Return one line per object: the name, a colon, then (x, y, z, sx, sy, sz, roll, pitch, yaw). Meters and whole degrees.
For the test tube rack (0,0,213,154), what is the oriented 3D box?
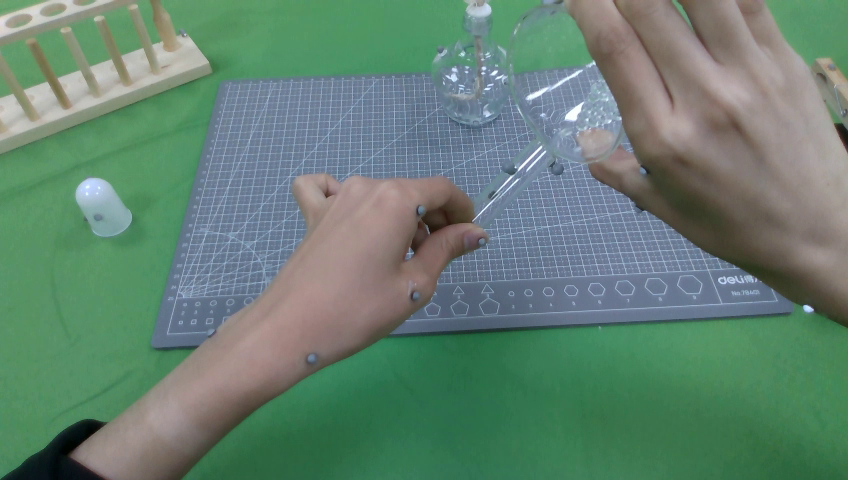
test tube rack: (-0.333, -0.162, 0.558, 0.242, 0.086, 0.066, -28, 56, -20)

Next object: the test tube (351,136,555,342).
test tube: (0.012, 0.003, 0.326, 0.150, 0.017, 0.017, -46, 54, 15)

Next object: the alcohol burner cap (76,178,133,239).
alcohol burner cap: (-0.255, -0.027, 0.478, 0.034, 0.048, 0.033, 0, 51, 1)

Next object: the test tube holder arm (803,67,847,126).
test tube holder arm: (0.335, -0.079, 0.454, 0.015, 0.013, 0.176, 1, 49, -6)

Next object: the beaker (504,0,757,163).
beaker: (0.100, -0.090, 0.291, 0.100, 0.084, 0.073, -31, 66, -20)

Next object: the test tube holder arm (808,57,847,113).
test tube holder arm: (0.333, -0.117, 0.479, 0.015, 0.010, 0.087, 1, 50, -7)

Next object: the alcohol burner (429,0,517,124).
alcohol burner: (0.043, -0.161, 0.526, 0.078, 0.120, 0.077, 0, 53, 0)
